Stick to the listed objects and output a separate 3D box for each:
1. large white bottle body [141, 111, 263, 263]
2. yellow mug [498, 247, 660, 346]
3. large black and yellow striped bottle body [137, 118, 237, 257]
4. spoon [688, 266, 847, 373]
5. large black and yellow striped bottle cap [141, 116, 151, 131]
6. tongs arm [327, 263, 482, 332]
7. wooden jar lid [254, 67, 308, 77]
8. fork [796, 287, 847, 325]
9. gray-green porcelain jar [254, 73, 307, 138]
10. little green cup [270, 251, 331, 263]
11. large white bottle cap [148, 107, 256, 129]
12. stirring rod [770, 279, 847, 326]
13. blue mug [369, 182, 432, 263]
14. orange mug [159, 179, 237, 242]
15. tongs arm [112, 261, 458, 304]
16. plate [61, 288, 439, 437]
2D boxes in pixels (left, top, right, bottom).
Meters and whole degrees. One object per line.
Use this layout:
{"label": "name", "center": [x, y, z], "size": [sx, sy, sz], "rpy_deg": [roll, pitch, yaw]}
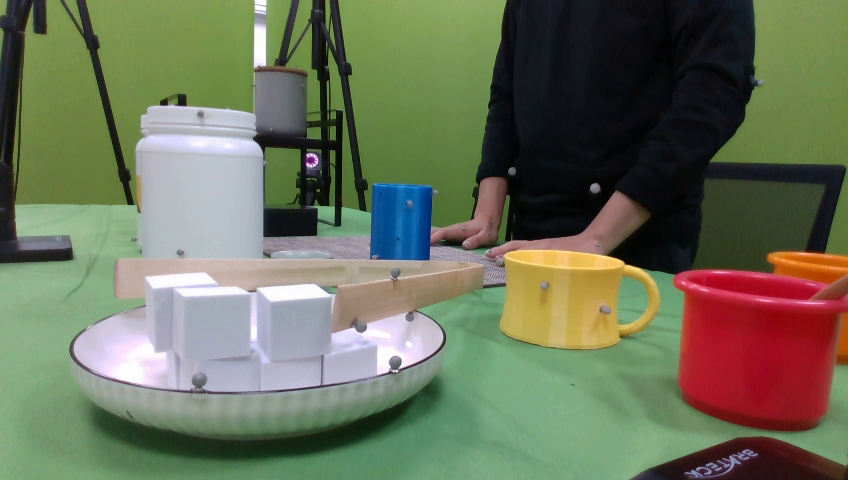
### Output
{"label": "large white bottle body", "center": [-0.254, -0.053, 0.697], "size": [0.131, 0.184, 0.130], "rpy_deg": [2, 7, 0]}
{"label": "yellow mug", "center": [0.130, 0.045, 0.508], "size": [0.131, 0.064, 0.100], "rpy_deg": [4, 7, 6]}
{"label": "large black and yellow striped bottle body", "center": [-0.330, -0.075, 0.849], "size": [0.131, 0.184, 0.130], "rpy_deg": [2, 8, 0]}
{"label": "spoon", "center": [0.216, 0.032, 0.327], "size": [0.042, 0.021, 0.193], "rpy_deg": [2, -37, -23]}
{"label": "large black and yellow striped bottle cap", "center": [-0.328, -0.158, 0.837], "size": [0.115, 0.019, 0.115], "rpy_deg": [2, 6, 0]}
{"label": "tongs arm", "center": [-0.003, 0.036, 0.493], "size": [0.050, 0.026, 0.386], "rpy_deg": [1, 0, 19]}
{"label": "wooden jar lid", "center": [-0.295, -0.339, 1.250], "size": [0.108, 0.020, 0.108], "rpy_deg": [2, 7, 0]}
{"label": "fork", "center": [0.324, 0.018, 0.441], "size": [0.028, 0.018, 0.207], "rpy_deg": [-3, -36, -5]}
{"label": "gray-green porcelain jar", "center": [-0.298, -0.277, 1.259], "size": [0.106, 0.126, 0.106], "rpy_deg": [3, 8, 0]}
{"label": "little green cup", "center": [-0.129, 0.034, 0.629], "size": [0.061, 0.038, 0.061], "rpy_deg": [3, 7, 0]}
{"label": "large white bottle cap", "center": [-0.250, -0.137, 0.686], "size": [0.115, 0.018, 0.115], "rpy_deg": [2, 8, 0]}
{"label": "stirring rod", "center": [0.349, 0.022, 0.468], "size": [0.014, 0.006, 0.175], "rpy_deg": [-12, -26, -50]}
{"label": "blue mug", "center": [-0.027, -0.026, 0.835], "size": [0.082, 0.106, 0.117], "rpy_deg": [5, 7, 19]}
{"label": "orange mug", "center": [-0.368, -0.051, 0.991], "size": [0.127, 0.101, 0.083], "rpy_deg": [-10, 14, -41]}
{"label": "tongs arm", "center": [-0.080, 0.032, 0.527], "size": [0.028, 0.027, 0.389], "rpy_deg": [-3, -3, 33]}
{"label": "plate", "center": [-0.095, 0.069, 0.362], "size": [0.208, 0.039, 0.207], "rpy_deg": [3, 7, 0]}
